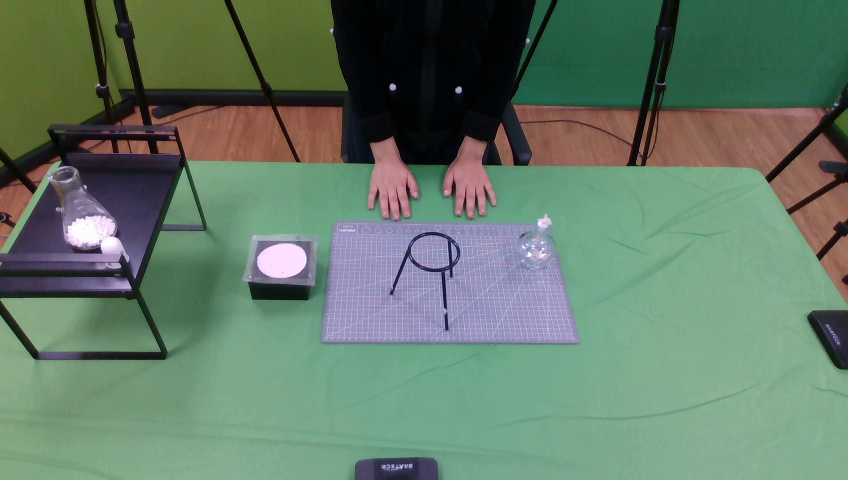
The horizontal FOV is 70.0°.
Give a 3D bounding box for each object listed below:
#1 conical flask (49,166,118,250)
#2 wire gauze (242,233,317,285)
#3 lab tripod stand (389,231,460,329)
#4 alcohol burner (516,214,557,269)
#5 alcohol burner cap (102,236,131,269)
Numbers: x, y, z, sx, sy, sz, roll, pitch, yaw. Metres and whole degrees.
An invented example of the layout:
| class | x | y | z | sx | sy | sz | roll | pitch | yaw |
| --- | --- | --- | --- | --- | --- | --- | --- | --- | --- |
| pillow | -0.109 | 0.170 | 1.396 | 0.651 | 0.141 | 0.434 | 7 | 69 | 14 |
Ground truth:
| class | x | y | z | sx | sy | sz | roll | pitch | yaw |
| --- | --- | --- | --- | --- | --- | --- | --- | --- | --- |
| conical flask | -0.505 | -0.051 | 0.888 | 0.075 | 0.122 | 0.075 | 2 | 45 | -2 |
| wire gauze | -0.257 | 0.032 | 1.088 | 0.125 | 0.011 | 0.120 | 1 | 44 | -5 |
| lab tripod stand | 0.015 | 0.063 | 1.058 | 0.148 | 0.132 | 0.147 | 4 | 46 | -4 |
| alcohol burner | 0.217 | -0.002 | 1.149 | 0.078 | 0.120 | 0.077 | 2 | 44 | -2 |
| alcohol burner cap | -0.451 | 0.016 | 0.883 | 0.034 | 0.048 | 0.033 | 3 | 44 | -3 |
